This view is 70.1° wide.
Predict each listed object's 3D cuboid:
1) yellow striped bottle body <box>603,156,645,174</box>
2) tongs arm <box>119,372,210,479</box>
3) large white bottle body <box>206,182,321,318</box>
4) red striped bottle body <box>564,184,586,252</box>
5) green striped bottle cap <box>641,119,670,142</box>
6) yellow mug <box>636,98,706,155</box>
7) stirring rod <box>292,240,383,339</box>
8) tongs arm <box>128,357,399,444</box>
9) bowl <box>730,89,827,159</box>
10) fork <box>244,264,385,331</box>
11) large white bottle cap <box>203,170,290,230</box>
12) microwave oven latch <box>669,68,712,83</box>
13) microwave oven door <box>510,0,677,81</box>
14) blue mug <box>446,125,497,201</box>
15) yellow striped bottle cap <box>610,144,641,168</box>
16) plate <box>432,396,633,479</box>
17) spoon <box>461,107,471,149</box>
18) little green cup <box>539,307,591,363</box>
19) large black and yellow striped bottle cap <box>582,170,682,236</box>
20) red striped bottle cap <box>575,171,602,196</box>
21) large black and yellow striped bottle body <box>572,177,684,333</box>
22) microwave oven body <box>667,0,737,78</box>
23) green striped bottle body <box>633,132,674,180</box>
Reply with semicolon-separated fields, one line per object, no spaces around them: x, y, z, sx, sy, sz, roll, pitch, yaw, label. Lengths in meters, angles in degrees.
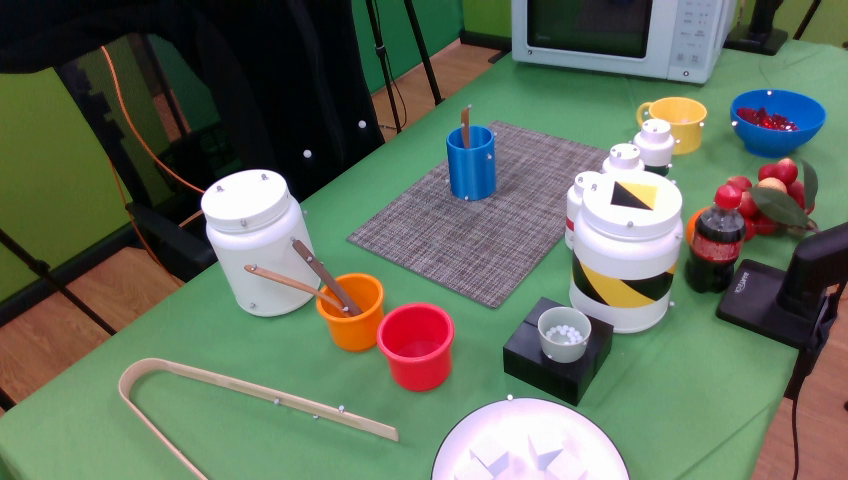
0.313;-0.089;0.955;0.063;0.121;0.062;-4;40;4;yellow striped bottle body
-0.258;0.257;0.700;0.384;0.028;0.028;24;55;34;tongs arm
-0.233;0.008;0.876;0.130;0.185;0.130;-5;40;4;large white bottle body
0.247;-0.041;0.910;0.063;0.120;0.062;-3;39;3;red striped bottle body
0.371;-0.175;0.968;0.044;0.020;0.044;-5;42;4;green striped bottle cap
0.453;-0.217;1.128;0.100;0.064;0.129;-34;46;-27;yellow mug
-0.118;0.068;0.826;0.176;0.006;0.014;49;60;-4;stirring rod
-0.213;0.205;0.755;0.382;0.026;0.051;12;46;23;tongs arm
0.615;-0.197;1.069;0.151;0.077;0.150;-5;40;5;bowl
-0.142;0.078;0.806;0.209;0.018;0.028;30;33;-23;fork
-0.241;-0.057;0.822;0.115;0.018;0.114;-4;41;4;large white bottle cap
0.555;-0.348;1.263;0.078;0.029;0.030;15;46;26;microwave oven latch
0.354;-0.478;1.290;0.353;0.245;0.039;15;45;25;microwave oven door
0.082;-0.143;1.064;0.082;0.106;0.116;-10;40;-2;blue mug
0.307;-0.128;0.923;0.044;0.019;0.044;-5;39;5;yellow striped bottle cap
0.112;0.261;0.634;0.209;0.038;0.208;-5;40;4;plate
0.073;-0.153;0.987;0.041;0.195;0.021;-25;59;-4;spoon
0.167;0.114;0.721;0.061;0.039;0.061;-4;43;4;little green cup
0.252;-0.048;0.735;0.115;0.019;0.114;-3;40;3;large black and yellow striped bottle cap
0.242;-0.081;0.876;0.044;0.018;0.044;-5;44;5;red striped bottle cap
0.262;0.017;0.788;0.131;0.185;0.130;-5;40;4;large black and yellow striped bottle body
0.462;-0.552;1.370;0.439;0.261;0.326;15;46;26;microwave oven body
0.376;-0.135;1.001;0.063;0.120;0.063;-5;40;5;green striped bottle body
